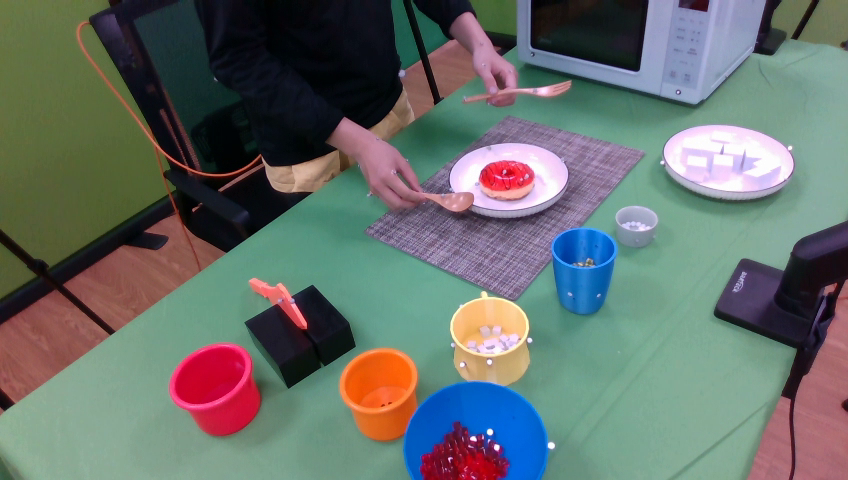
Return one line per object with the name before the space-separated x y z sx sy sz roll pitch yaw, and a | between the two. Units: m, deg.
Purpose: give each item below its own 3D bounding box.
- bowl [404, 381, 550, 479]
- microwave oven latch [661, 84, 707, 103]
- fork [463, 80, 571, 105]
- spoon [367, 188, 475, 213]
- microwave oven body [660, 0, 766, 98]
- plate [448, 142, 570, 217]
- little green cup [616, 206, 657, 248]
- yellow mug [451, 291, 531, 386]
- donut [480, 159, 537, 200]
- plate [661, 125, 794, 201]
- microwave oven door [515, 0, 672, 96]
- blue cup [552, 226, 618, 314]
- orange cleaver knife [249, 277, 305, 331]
bowl | 0.058 0.235 0.645 0.151 0.077 0.150 -4 39 4
microwave oven latch | 0.517 -0.296 1.204 0.078 0.029 0.030 26 52 34
fork | 0.163 -0.263 1.090 0.206 0.019 0.028 -1 66 25
spoon | -0.008 -0.073 1.007 0.193 0.022 0.041 10 66 18
microwave oven body | 0.473 -0.514 1.317 0.438 0.261 0.327 26 51 34
plate | 0.148 -0.101 1.053 0.209 0.038 0.208 -4 40 4
little green cup | 0.327 -0.019 0.935 0.061 0.039 0.061 -4 40 4
yellow mug | 0.085 0.120 0.786 0.100 0.064 0.130 -7 39 1
donut | 0.145 -0.106 1.042 0.099 0.048 0.098 -4 38 4
plate | 0.513 -0.128 1.035 0.207 0.039 0.206 -4 40 4
microwave oven door | 0.344 -0.455 1.260 0.353 0.245 0.039 26 51 33
blue cup | 0.218 0.047 0.826 0.092 0.101 0.092 -6 40 5
orange cleaver knife | -0.210 0.088 0.856 0.012 0.077 0.210 -28 15 -25
